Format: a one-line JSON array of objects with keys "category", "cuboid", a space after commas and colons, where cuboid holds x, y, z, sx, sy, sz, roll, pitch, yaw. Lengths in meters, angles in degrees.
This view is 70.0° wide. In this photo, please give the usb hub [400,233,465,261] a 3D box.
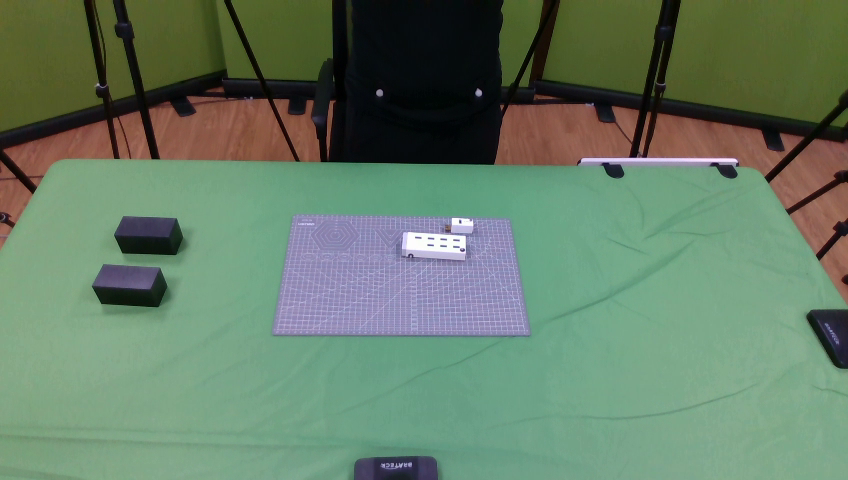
[{"category": "usb hub", "cuboid": [0.018, 0.013, 1.180, 0.125, 0.025, 0.049, 4, 46, 0]}]

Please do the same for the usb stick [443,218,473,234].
[{"category": "usb stick", "cuboid": [0.068, -0.028, 1.222, 0.059, 0.027, 0.021, 1, 45, 0]}]
